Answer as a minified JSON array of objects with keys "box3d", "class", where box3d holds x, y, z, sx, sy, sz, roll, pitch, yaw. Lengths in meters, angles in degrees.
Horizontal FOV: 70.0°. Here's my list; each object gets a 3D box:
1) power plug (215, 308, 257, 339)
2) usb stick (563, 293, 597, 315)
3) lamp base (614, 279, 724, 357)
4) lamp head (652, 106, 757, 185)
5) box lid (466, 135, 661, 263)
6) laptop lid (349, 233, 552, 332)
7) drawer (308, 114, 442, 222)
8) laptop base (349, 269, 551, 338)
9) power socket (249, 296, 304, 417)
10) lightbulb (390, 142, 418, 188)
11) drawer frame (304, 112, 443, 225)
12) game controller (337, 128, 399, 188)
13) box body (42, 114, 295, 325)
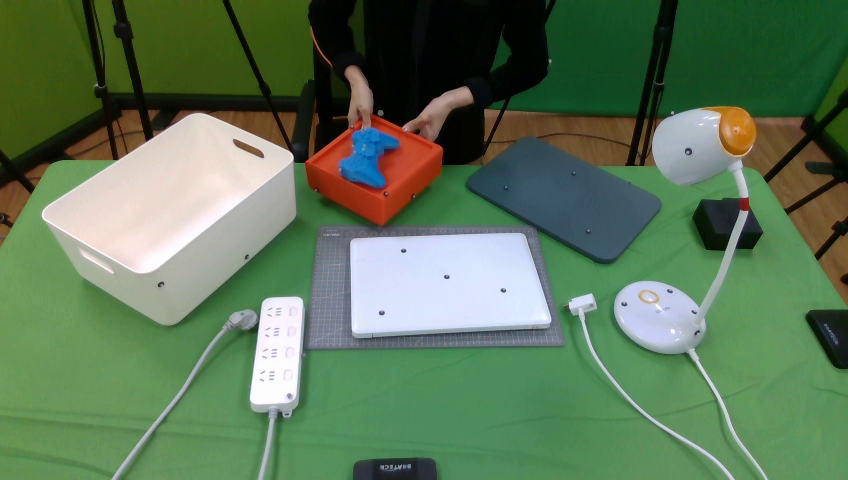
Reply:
[{"box3d":[-0.317,0.143,1.024,0.072,0.053,0.035,-32,58,-9],"class":"power plug"},{"box3d":[0.280,0.118,1.093,0.059,0.021,0.027,-18,35,25],"class":"usb stick"},{"box3d":[0.436,0.090,1.034,0.161,0.181,0.178,-23,55,-23],"class":"lamp base"},{"box3d":[0.410,-0.139,0.869,0.113,0.122,0.112,0,89,-19],"class":"lamp head"},{"box3d":[0.306,-0.102,1.327,0.370,0.015,0.263,32,52,25],"class":"box lid"},{"box3d":[0.040,0.070,1.119,0.357,0.013,0.240,-1,44,-5],"class":"laptop lid"},{"box3d":[-0.100,-0.155,1.267,0.194,0.073,0.211,29,52,19],"class":"drawer"},{"box3d":[0.039,0.080,1.125,0.355,0.023,0.234,-2,43,-6],"class":"laptop base"},{"box3d":[-0.239,0.182,0.996,0.072,0.033,0.225,-2,47,-5],"class":"power socket"},{"box3d":[-0.046,-0.159,1.284,0.059,0.060,0.107,10,66,5],"class":"lightbulb"},{"box3d":[-0.100,-0.155,1.265,0.201,0.083,0.213,28,52,20],"class":"drawer frame"},{"box3d":[-0.112,-0.171,1.210,0.097,0.052,0.154,7,46,9],"class":"game controller"},{"box3d":[-0.437,-0.046,1.110,0.253,0.161,0.363,24,49,19],"class":"box body"}]
